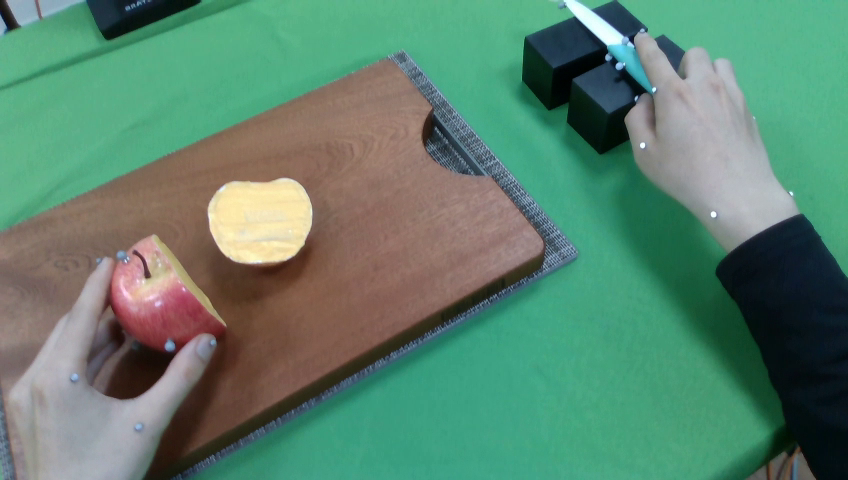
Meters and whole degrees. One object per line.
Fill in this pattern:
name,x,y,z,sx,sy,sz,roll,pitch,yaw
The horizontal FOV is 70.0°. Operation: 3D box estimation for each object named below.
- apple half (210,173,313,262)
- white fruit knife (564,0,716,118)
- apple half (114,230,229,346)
apple half,-0.125,-0.013,0.473,0.081,0.033,0.080,3,66,-6
white fruit knife,0.174,-0.169,0.528,0.027,0.016,0.205,-17,52,-18
apple half,-0.180,0.041,0.421,0.053,0.075,0.080,-39,65,-13
